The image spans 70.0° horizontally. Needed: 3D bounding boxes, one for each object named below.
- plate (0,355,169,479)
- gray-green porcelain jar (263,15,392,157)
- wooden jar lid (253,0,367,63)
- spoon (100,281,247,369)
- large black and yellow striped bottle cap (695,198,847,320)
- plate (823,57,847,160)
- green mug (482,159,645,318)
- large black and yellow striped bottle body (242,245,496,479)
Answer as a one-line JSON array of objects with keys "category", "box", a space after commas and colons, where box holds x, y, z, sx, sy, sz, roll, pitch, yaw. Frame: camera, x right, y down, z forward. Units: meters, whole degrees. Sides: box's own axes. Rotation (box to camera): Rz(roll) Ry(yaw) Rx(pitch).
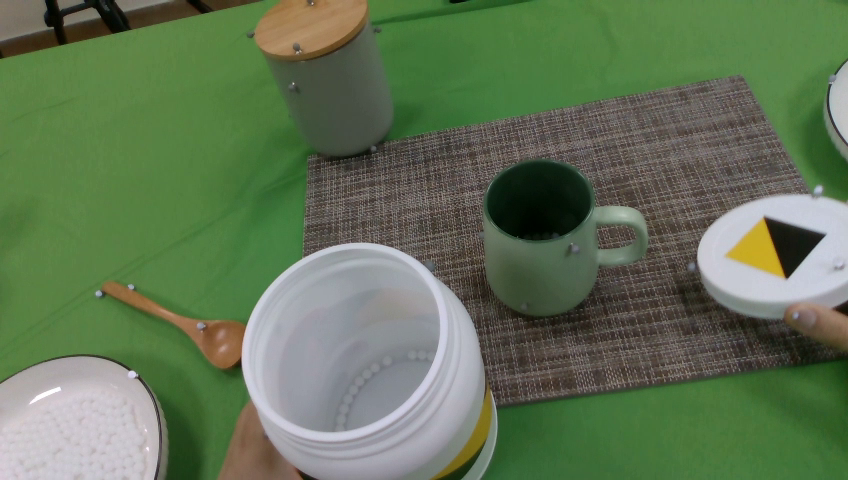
[{"category": "plate", "box": [-0.291, 0.190, 0.464, 0.209, 0.038, 0.207, -5, 55, 8]}, {"category": "gray-green porcelain jar", "box": [-0.091, -0.155, 0.606, 0.106, 0.128, 0.105, -6, 51, 8]}, {"category": "wooden jar lid", "box": [-0.103, -0.195, 0.558, 0.108, 0.021, 0.107, -8, 53, 11]}, {"category": "spoon", "box": [-0.230, 0.068, 0.545, 0.192, 0.022, 0.041, 19, 78, 22]}, {"category": "large black and yellow striped bottle cap", "box": [0.263, 0.011, 0.449, 0.115, 0.019, 0.114, -23, 31, 15]}, {"category": "plate", "box": [0.452, -0.098, 0.512, 0.207, 0.039, 0.205, -6, 55, 8]}, {"category": "green mug", "box": [0.106, 0.000, 0.468, 0.125, 0.106, 0.091, -2, 55, 11]}, {"category": "large black and yellow striped bottle body", "box": [-0.025, 0.094, 0.382, 0.130, 0.186, 0.129, -5, 59, 8]}]
